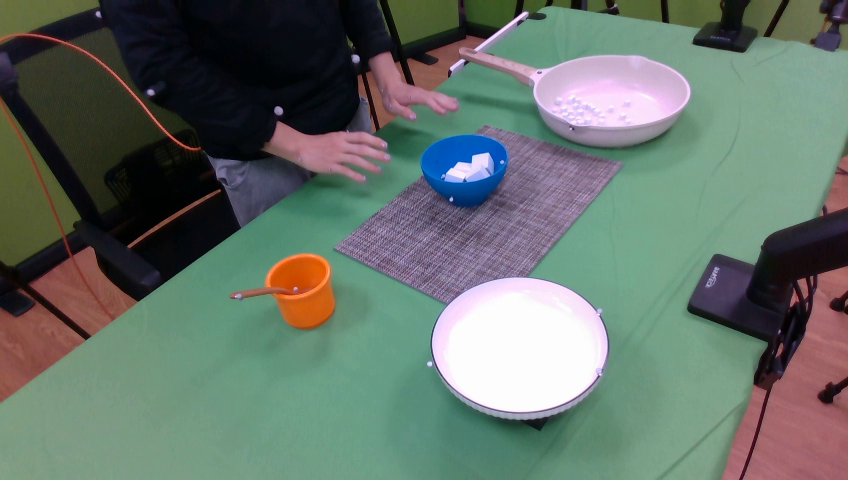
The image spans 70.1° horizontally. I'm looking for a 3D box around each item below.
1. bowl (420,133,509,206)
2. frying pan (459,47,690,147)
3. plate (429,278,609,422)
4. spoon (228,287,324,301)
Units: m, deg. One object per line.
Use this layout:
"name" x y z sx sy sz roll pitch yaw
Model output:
"bowl" 0.071 -0.112 1.038 0.151 0.077 0.150 -4 40 4
"frying pan" 0.280 -0.317 1.234 0.485 0.103 0.307 28 50 23
"plate" 0.111 0.129 0.716 0.207 0.039 0.206 -5 39 4
"spoon" -0.197 0.071 0.816 0.041 0.195 0.021 13 88 23
